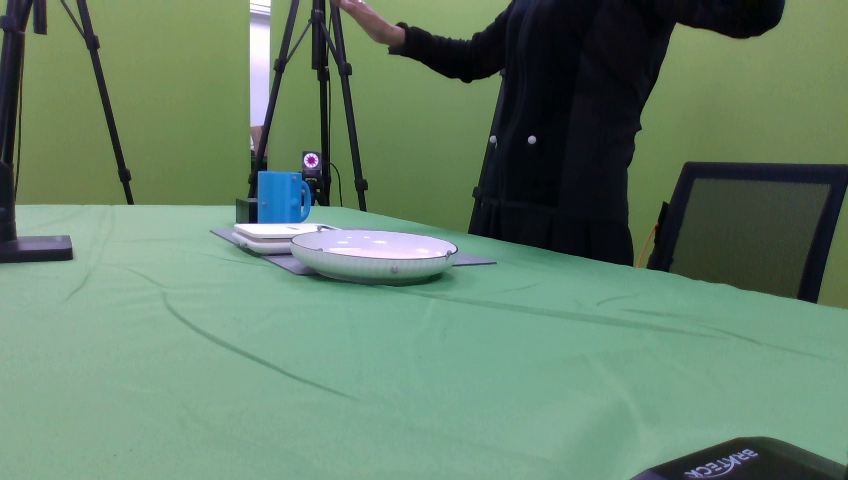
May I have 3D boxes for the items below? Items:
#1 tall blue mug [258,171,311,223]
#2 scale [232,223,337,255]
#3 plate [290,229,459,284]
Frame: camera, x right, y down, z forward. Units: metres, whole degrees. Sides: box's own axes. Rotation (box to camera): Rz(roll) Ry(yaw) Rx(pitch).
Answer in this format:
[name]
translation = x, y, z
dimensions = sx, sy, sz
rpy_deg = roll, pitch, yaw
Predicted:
[tall blue mug]
translation = -0.258, -0.070, 1.107
dimensions = 0.078, 0.108, 0.107
rpy_deg = 2, 7, 5
[scale]
translation = -0.178, -0.004, 0.920
dimensions = 0.202, 0.031, 0.148
rpy_deg = -1, 9, -30
[plate]
translation = -0.062, 0.020, 0.753
dimensions = 0.209, 0.038, 0.209
rpy_deg = 3, 9, 0
